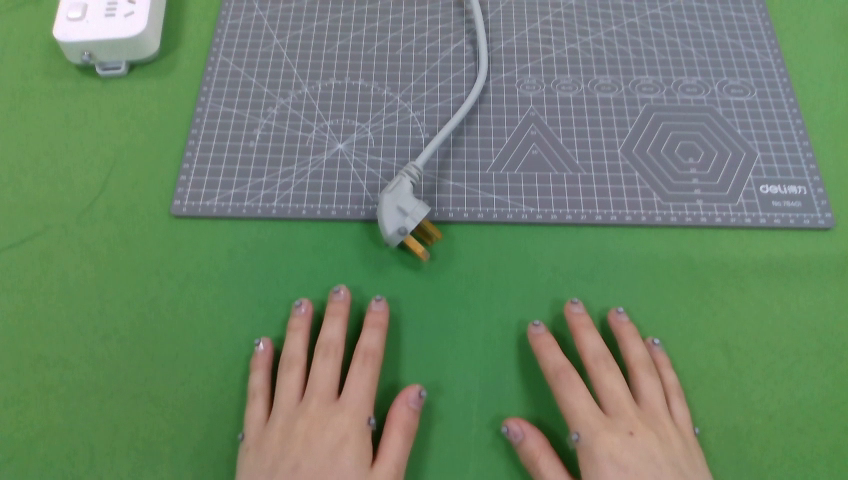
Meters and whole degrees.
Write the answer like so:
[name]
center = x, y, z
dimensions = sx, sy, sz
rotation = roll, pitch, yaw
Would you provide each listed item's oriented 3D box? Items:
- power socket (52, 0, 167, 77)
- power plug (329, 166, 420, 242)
[power socket]
center = -0.249, -0.232, 0.501
dimensions = 0.072, 0.033, 0.224
rotation = -4, 63, -3
[power plug]
center = -0.030, -0.030, 0.384
dimensions = 0.035, 0.073, 0.052
rotation = -37, 27, -6
